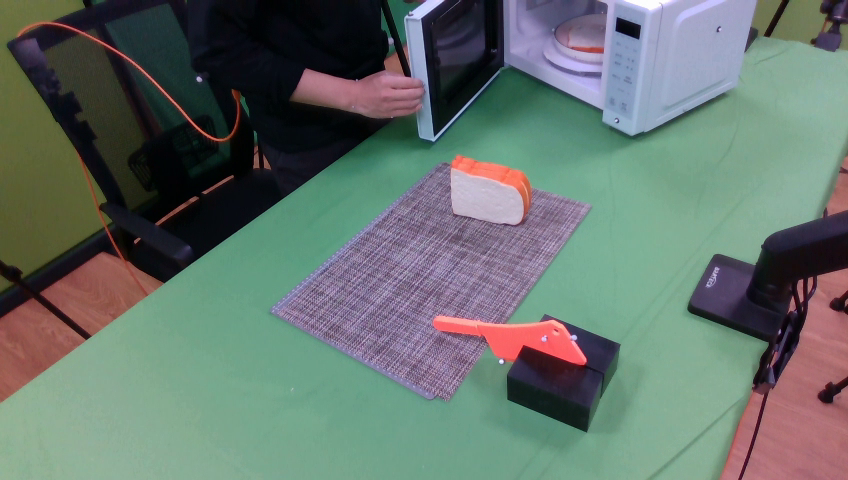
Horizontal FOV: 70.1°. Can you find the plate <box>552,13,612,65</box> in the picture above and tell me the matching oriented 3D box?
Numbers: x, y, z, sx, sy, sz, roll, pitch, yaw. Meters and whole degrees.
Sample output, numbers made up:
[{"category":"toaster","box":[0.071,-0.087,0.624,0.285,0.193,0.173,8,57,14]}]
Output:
[{"category":"plate","box":[0.383,-0.429,1.305,0.207,0.039,0.206,-5,42,5]}]

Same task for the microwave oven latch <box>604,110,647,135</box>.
[{"category":"microwave oven latch","box":[0.378,-0.225,1.139,0.030,0.029,0.078,-26,43,-20]}]

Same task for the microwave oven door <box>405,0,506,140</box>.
[{"category":"microwave oven door","box":[0.077,-0.396,1.225,0.039,0.245,0.356,16,46,25]}]

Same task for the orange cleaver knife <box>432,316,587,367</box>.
[{"category":"orange cleaver knife","box":[0.101,0.127,0.761,0.210,0.077,0.012,-1,34,40]}]

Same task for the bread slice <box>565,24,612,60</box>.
[{"category":"bread slice","box":[0.362,-0.431,1.317,0.107,0.018,0.134,3,48,9]}]

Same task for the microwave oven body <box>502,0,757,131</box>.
[{"category":"microwave oven body","box":[0.396,-0.448,1.248,0.327,0.261,0.437,-27,44,-21]}]
